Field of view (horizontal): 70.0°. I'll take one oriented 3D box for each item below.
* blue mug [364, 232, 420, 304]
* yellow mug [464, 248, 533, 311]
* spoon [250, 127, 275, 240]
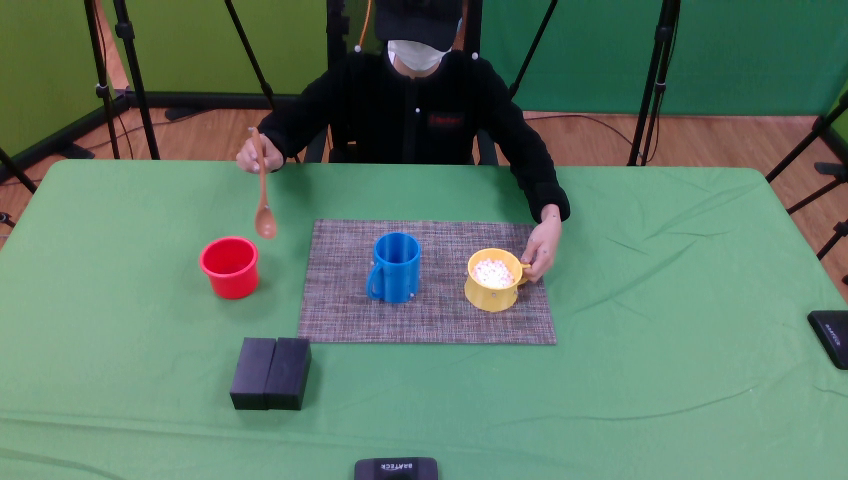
[{"bbox_3d":[-0.062,0.059,1.073,0.082,0.106,0.116,35,53,27],"label":"blue mug"},{"bbox_3d":[0.139,0.069,1.106,0.131,0.064,0.099,-10,47,-14],"label":"yellow mug"},{"bbox_3d":[-0.282,-0.096,1.049,0.042,0.194,0.021,-12,18,-39],"label":"spoon"}]
